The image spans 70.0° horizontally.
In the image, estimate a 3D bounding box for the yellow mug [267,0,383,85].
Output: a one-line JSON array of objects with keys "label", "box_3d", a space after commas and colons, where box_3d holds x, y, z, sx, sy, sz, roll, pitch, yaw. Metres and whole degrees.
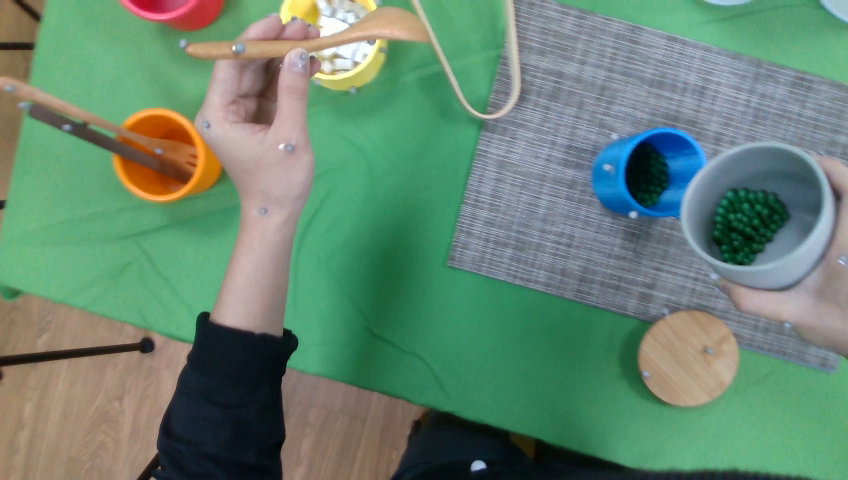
[{"label": "yellow mug", "box_3d": [-0.107, -0.205, 0.622, 0.131, 0.064, 0.100, -36, 95, 5]}]

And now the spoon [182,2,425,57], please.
[{"label": "spoon", "box_3d": [-0.072, -0.141, 0.417, 0.194, 0.022, 0.041, -26, 69, -36]}]

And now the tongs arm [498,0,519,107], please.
[{"label": "tongs arm", "box_3d": [0.062, -0.331, 0.605, 0.028, 0.027, 0.389, -11, 102, -7]}]

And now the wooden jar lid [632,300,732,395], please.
[{"label": "wooden jar lid", "box_3d": [0.285, 0.119, 0.674, 0.108, 0.020, 0.108, 0, 99, 3]}]

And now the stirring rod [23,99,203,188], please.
[{"label": "stirring rod", "box_3d": [-0.297, -0.091, 0.595, 0.006, 0.178, 0.014, 11, 79, 42]}]

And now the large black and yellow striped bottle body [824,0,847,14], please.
[{"label": "large black and yellow striped bottle body", "box_3d": [0.465, -0.292, 0.550, 0.131, 0.183, 0.131, 0, 95, 1]}]

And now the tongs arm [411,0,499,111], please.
[{"label": "tongs arm", "box_3d": [-0.018, -0.305, 0.606, 0.051, 0.026, 0.386, -24, 102, -1]}]

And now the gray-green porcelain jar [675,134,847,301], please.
[{"label": "gray-green porcelain jar", "box_3d": [0.282, -0.011, 0.498, 0.128, 0.104, 0.106, 27, 97, -42]}]

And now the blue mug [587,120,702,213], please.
[{"label": "blue mug", "box_3d": [0.230, -0.062, 0.611, 0.116, 0.105, 0.082, 41, 94, -3]}]

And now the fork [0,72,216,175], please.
[{"label": "fork", "box_3d": [-0.300, -0.110, 0.590, 0.209, 0.018, 0.028, 23, 97, -46]}]
